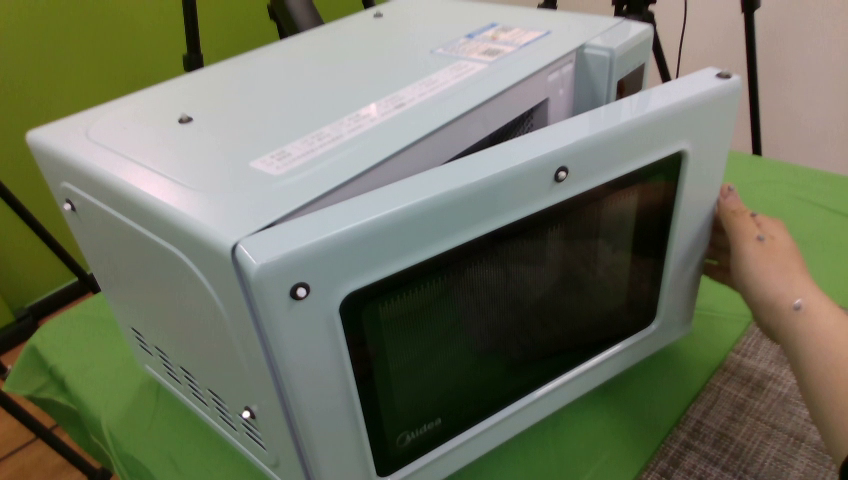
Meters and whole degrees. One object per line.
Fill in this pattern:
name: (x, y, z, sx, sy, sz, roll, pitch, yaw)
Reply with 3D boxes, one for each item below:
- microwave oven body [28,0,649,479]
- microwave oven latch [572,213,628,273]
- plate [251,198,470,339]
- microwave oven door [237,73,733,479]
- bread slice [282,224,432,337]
microwave oven body: (-0.045, -0.037, 0.579, 0.323, 0.262, 0.441, 23, 44, 35)
microwave oven latch: (0.191, 0.003, 0.656, 0.030, 0.030, 0.079, 25, 45, 37)
plate: (-0.058, 0.026, 0.583, 0.209, 0.038, 0.207, -5, 33, 4)
microwave oven door: (0.071, 0.043, 0.432, 0.356, 0.246, 0.039, -23, 37, -23)
bread slice: (-0.061, 0.028, 0.589, 0.131, 0.019, 0.104, -33, 44, -26)
